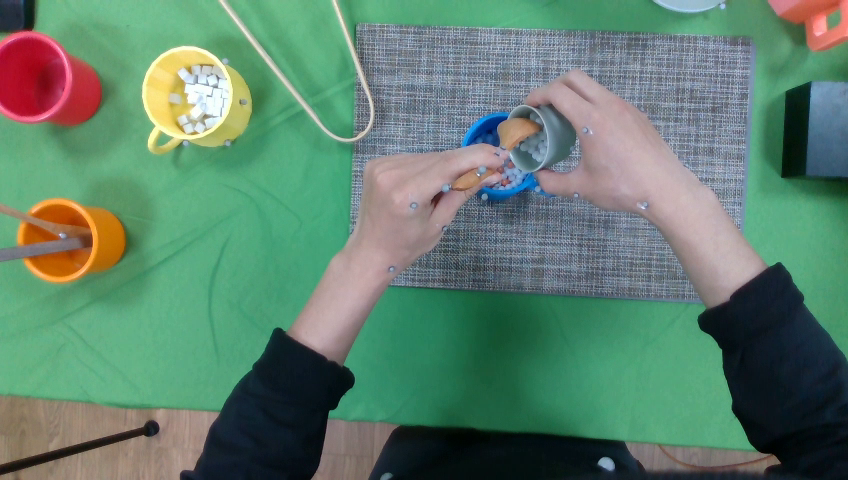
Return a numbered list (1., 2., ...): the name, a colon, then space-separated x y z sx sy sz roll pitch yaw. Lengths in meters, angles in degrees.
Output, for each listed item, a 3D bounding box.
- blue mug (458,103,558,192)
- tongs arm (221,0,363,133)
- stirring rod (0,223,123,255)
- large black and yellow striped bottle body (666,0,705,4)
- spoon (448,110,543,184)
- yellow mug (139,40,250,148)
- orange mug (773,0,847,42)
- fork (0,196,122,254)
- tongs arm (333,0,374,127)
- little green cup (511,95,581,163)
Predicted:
1. blue mug: 0.092 -0.087 0.649 0.116 0.106 0.082 30 93 0
2. tongs arm: -0.201 -0.271 0.667 0.051 0.026 0.386 -36 98 0
3. stirring rod: -0.423 0.003 0.659 0.177 0.006 0.014 -14 88 -39
4. large black and yellow striped bottle body: 0.290 -0.327 0.594 0.131 0.184 0.131 0 92 3
5. spoon: 0.059 -0.076 0.486 0.041 0.193 0.022 9 120 20
6. yellow mug: -0.266 -0.154 0.681 0.100 0.064 0.131 41 95 -1
7. orange mug: 0.426 -0.279 0.634 0.083 0.101 0.126 -7 88 3
8. fork: -0.431 -0.032 0.651 0.209 0.018 0.028 31 89 -43
9. tongs arm: -0.128 -0.313 0.666 0.028 0.027 0.388 -22 99 -5
10. little green cup: 0.114 -0.103 0.562 0.061 0.039 0.062 11 107 41
